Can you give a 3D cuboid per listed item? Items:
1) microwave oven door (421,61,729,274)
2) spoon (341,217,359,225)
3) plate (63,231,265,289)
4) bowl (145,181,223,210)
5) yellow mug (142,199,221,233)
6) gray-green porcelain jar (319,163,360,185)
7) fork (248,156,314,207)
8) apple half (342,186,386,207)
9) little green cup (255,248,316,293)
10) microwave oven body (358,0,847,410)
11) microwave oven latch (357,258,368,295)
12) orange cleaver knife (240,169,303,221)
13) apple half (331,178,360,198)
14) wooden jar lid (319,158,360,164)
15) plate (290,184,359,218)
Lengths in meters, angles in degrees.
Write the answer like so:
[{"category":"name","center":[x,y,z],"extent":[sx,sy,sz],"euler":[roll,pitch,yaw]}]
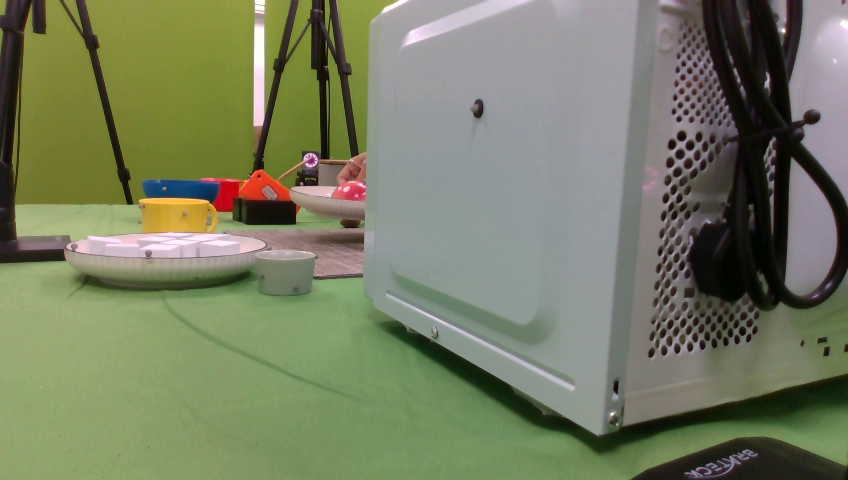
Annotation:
[{"category":"microwave oven door","center":[0.171,-0.093,0.749],"extent":[0.355,0.243,0.039],"euler":[4,9,17]},{"category":"spoon","center":[-0.132,-0.048,1.305],"extent":[0.041,0.021,0.194],"euler":[-14,4,14]},{"category":"plate","center":[-0.288,0.021,0.687],"extent":[0.208,0.039,0.207],"euler":[2,8,0]},{"category":"bowl","center":[-0.499,-0.081,1.261],"extent":[0.151,0.077,0.151],"euler":[2,8,0]},{"category":"yellow mug","center":[-0.372,-0.030,0.948],"extent":[0.099,0.064,0.131],"euler":[6,7,30]},{"category":"gray-green porcelain jar","center":[-0.204,-0.126,1.490],"extent":[0.106,0.126,0.106],"euler":[2,7,0]},{"category":"fork","center":[-0.360,-0.147,1.523],"extent":[0.207,0.019,0.028],"euler":[-43,16,-6]},{"category":"apple half","center":[-0.105,-0.079,1.074],"extent":[0.081,0.033,0.081],"euler":[2,12,0]},{"category":"little green cup","center":[-0.144,0.031,0.627],"extent":[0.061,0.038,0.061],"euler":[2,6,0]},{"category":"microwave oven body","center":[0.210,-0.051,0.471],"extent":[0.444,0.260,0.324],"euler":[-1,7,-28]},{"category":"microwave oven latch","center":[-0.019,0.031,0.529],"extent":[0.079,0.029,0.030],"euler":[-1,7,-26]},{"category":"orange cleaver knife","center":[-0.286,-0.082,1.298],"extent":[0.212,0.077,0.012],"euler":[25,-2,-31]},{"category":"apple half","center":[-0.111,-0.074,0.994],"extent":[0.081,0.053,0.074],"euler":[-2,15,-38]},{"category":"wooden jar lid","center":[-0.203,-0.189,1.481],"extent":[0.108,0.020,0.108],"euler":[2,10,0]},{"category":"plate","center":[-0.124,-0.067,1.033],"extent":[0.209,0.038,0.209],"euler":[5,10,-1]}]
